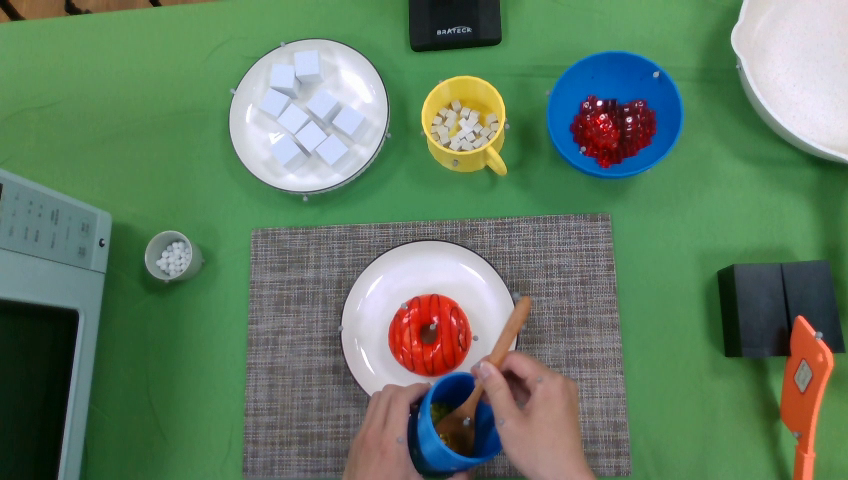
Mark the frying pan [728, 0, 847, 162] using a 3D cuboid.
[{"bbox_3d":[0.495,-0.125,0.671,0.306,0.103,0.485,3,72,8],"label":"frying pan"}]

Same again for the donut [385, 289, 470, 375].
[{"bbox_3d":[0.004,0.106,0.699,0.099,0.048,0.099,-1,83,7],"label":"donut"}]

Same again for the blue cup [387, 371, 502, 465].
[{"bbox_3d":[0.012,0.182,0.597,0.093,0.100,0.092,15,60,-28],"label":"blue cup"}]

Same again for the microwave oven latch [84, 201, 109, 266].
[{"bbox_3d":[-0.418,-0.008,0.760,0.030,0.029,0.079,4,81,6],"label":"microwave oven latch"}]

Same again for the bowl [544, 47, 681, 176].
[{"bbox_3d":[0.215,-0.140,0.717,0.151,0.077,0.151,-1,80,6],"label":"bowl"}]

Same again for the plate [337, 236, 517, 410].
[{"bbox_3d":[0.004,0.099,0.711,0.209,0.038,0.208,-1,80,6],"label":"plate"}]

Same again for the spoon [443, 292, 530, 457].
[{"bbox_3d":[0.053,0.130,0.556,0.041,0.021,0.194,29,115,10],"label":"spoon"}]

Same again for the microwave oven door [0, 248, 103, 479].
[{"bbox_3d":[-0.438,0.189,0.622,0.039,0.245,0.354,0,79,6],"label":"microwave oven door"}]

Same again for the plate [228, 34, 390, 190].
[{"bbox_3d":[-0.145,-0.161,0.779,0.207,0.039,0.206,-1,79,6],"label":"plate"}]

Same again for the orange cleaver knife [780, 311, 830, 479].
[{"bbox_3d":[0.394,0.180,0.637,0.012,0.077,0.212,-3,108,6],"label":"orange cleaver knife"}]

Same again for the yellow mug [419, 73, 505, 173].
[{"bbox_3d":[0.056,-0.133,0.739,0.100,0.064,0.130,-39,79,-2],"label":"yellow mug"}]

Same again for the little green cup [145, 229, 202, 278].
[{"bbox_3d":[-0.313,0.019,0.763,0.061,0.039,0.061,-1,81,5],"label":"little green cup"}]

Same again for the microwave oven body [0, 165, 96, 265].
[{"bbox_3d":[-0.581,0.146,0.650,0.326,0.261,0.440,1,80,6],"label":"microwave oven body"}]
